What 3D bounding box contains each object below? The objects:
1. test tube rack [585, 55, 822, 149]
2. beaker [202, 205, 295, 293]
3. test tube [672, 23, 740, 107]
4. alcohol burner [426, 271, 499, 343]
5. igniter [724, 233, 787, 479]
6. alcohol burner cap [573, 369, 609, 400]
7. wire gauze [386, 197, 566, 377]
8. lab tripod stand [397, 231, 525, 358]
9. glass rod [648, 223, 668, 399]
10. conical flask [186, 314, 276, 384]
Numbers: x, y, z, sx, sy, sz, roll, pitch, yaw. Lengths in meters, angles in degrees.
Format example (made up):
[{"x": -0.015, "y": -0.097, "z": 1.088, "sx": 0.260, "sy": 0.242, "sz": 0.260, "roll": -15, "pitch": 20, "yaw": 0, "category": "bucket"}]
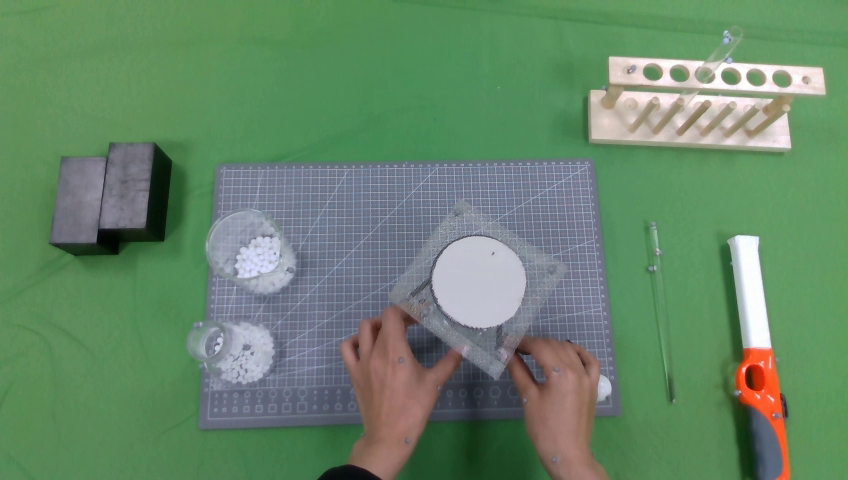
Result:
[{"x": 0.321, "y": -0.159, "z": 0.710, "sx": 0.242, "sy": 0.085, "sz": 0.066, "roll": 2, "pitch": 74, "yaw": -1, "category": "test tube rack"}, {"x": -0.176, "y": 0.016, "z": 0.638, "sx": 0.084, "sy": 0.100, "sz": 0.074, "roll": 34, "pitch": 77, "yaw": 7, "category": "beaker"}, {"x": 0.305, "y": -0.187, "z": 0.666, "sx": 0.017, "sy": 0.151, "sz": 0.017, "roll": 0, "pitch": 74, "yaw": 1, "category": "test tube"}, {"x": 0.040, "y": 0.066, "z": 0.624, "sx": 0.078, "sy": 0.119, "sz": 0.077, "roll": 0, "pitch": 76, "yaw": 0, "category": "alcohol burner"}, {"x": 0.363, "y": 0.126, "z": 0.666, "sx": 0.057, "sy": 0.025, "sz": 0.275, "roll": 4, "pitch": 75, "yaw": -12, "category": "igniter"}, {"x": 0.179, "y": 0.152, "z": 0.643, "sx": 0.034, "sy": 0.048, "sz": 0.033, "roll": 1, "pitch": 74, "yaw": -2, "category": "alcohol burner cap"}, {"x": 0.048, "y": 0.038, "z": 0.552, "sx": 0.125, "sy": 0.011, "sz": 0.121, "roll": 35, "pitch": 78, "yaw": 8, "category": "wire gauze"}, {"x": 0.043, "y": 0.053, "z": 0.617, "sx": 0.148, "sy": 0.132, "sz": 0.147, "roll": 0, "pitch": 76, "yaw": 0, "category": "lab tripod stand"}, {"x": 0.265, "y": 0.077, "z": 0.685, "sx": 0.008, "sy": 0.008, "sz": 0.198, "roll": 0, "pitch": 78, "yaw": -2, "category": "glass rod"}, {"x": -0.196, "y": 0.104, "z": 0.603, "sx": 0.075, "sy": 0.122, "sz": 0.075, "roll": 0, "pitch": 75, "yaw": -1, "category": "conical flask"}]
